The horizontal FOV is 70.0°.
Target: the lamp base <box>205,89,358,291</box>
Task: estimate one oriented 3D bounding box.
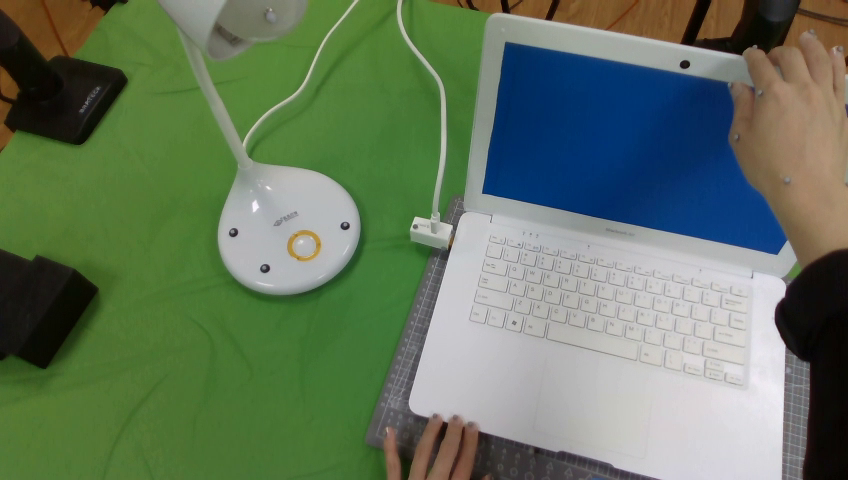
[{"bbox_3d":[-0.167,-0.059,0.626,0.160,0.182,0.178,-41,66,-18],"label":"lamp base"}]

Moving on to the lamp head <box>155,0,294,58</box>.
[{"bbox_3d":[-0.130,-0.184,0.347,0.123,0.112,0.112,41,69,-5],"label":"lamp head"}]

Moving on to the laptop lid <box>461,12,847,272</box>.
[{"bbox_3d":[0.216,-0.083,0.589,0.356,0.244,0.013,11,47,10],"label":"laptop lid"}]

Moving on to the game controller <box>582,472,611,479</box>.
[{"bbox_3d":[0.191,0.263,0.523,0.155,0.052,0.096,13,61,8],"label":"game controller"}]

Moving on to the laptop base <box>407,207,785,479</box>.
[{"bbox_3d":[0.180,0.102,0.622,0.353,0.023,0.234,12,68,8],"label":"laptop base"}]

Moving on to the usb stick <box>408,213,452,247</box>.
[{"bbox_3d":[0.013,-0.010,0.670,0.059,0.027,0.021,17,61,7],"label":"usb stick"}]
